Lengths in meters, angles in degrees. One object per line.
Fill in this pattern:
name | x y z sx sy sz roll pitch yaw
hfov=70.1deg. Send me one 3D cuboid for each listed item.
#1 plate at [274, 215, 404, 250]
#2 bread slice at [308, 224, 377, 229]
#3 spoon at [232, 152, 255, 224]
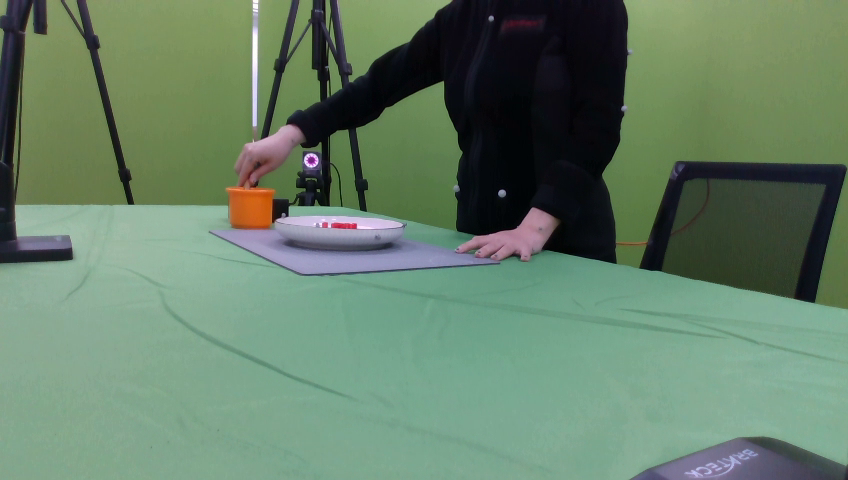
plate | -0.137 -0.013 0.981 0.209 0.038 0.209 2 7 0
bread slice | -0.134 -0.011 0.974 0.135 0.018 0.106 -3 8 -33
spoon | -0.349 -0.106 1.196 0.042 0.193 0.021 5 -34 -11
